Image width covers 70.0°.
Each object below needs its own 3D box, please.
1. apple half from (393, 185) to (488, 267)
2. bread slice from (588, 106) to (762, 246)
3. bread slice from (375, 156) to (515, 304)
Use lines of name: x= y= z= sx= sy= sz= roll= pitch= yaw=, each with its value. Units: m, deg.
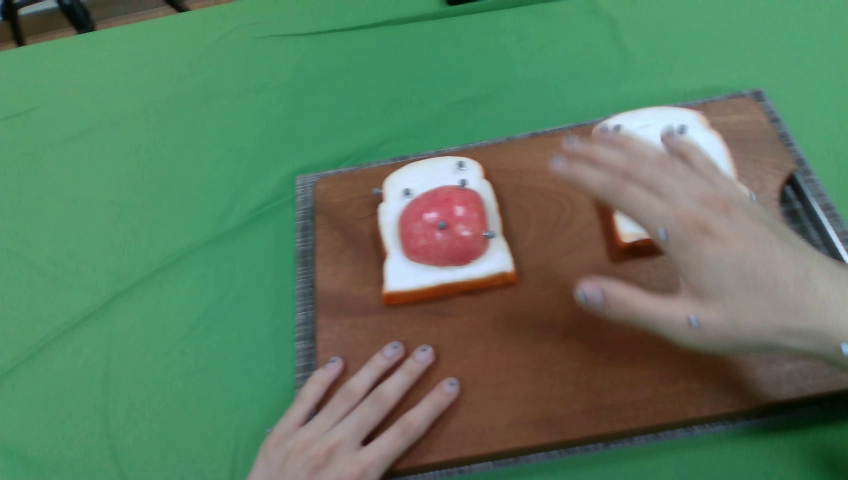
apple half: x=0.011 y=-0.017 z=0.468 sx=0.081 sy=0.033 sz=0.080 roll=-3 pitch=56 yaw=5
bread slice: x=0.189 y=-0.056 z=0.491 sx=0.107 sy=0.018 sz=0.133 roll=-12 pitch=55 yaw=1
bread slice: x=0.009 y=-0.014 z=0.495 sx=0.105 sy=0.019 sz=0.130 roll=-11 pitch=56 yaw=1
